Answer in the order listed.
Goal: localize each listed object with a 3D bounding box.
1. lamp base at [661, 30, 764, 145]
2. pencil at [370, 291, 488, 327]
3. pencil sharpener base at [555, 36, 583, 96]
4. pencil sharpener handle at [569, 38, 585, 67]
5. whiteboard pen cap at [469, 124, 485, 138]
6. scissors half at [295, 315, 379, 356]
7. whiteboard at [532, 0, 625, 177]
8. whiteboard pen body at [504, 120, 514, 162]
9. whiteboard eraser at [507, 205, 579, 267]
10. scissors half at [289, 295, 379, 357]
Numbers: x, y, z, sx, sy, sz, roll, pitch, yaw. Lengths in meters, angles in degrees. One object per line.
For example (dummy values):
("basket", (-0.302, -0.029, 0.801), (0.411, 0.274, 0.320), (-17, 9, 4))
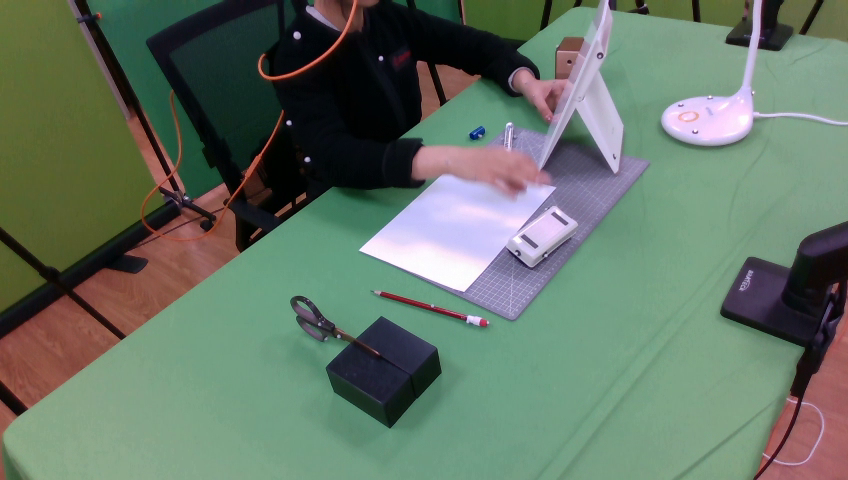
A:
("lamp base", (0.535, -0.287, 1.096), (0.179, 0.181, 0.159), (-10, 40, -4))
("pencil", (0.003, 0.097, 0.877), (0.193, 0.012, 0.012), (13, 45, 26))
("pencil sharpener base", (0.318, -0.371, 1.290), (0.061, 0.107, 0.076), (10, 44, 22))
("pencil sharpener handle", (0.332, -0.413, 1.317), (0.036, 0.068, 0.030), (19, 46, 13))
("whiteboard pen cap", (0.106, -0.220, 1.224), (0.033, 0.018, 0.018), (-37, 48, -24))
("scissors half", (-0.119, 0.132, 0.813), (0.174, 0.040, 0.013), (9, 33, 45))
("whiteboard", (0.320, -0.258, 1.050), (0.144, 0.306, 0.217), (21, 45, 4))
("whiteboard pen body", (0.165, -0.192, 1.177), (0.017, 0.017, 0.140), (0, 42, 11))
("whiteboard eraser", (0.183, -0.005, 0.931), (0.113, 0.042, 0.055), (-34, 62, -28))
("scissors half", (-0.122, 0.114, 0.803), (0.174, 0.040, 0.013), (26, 49, 32))
